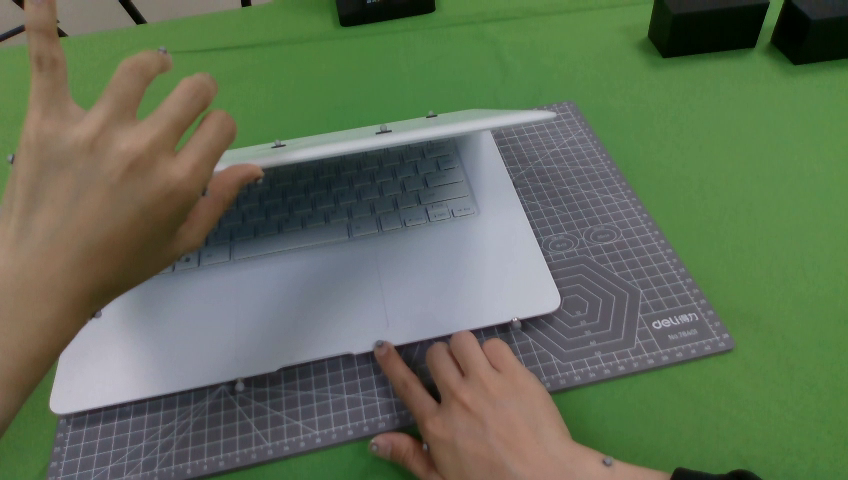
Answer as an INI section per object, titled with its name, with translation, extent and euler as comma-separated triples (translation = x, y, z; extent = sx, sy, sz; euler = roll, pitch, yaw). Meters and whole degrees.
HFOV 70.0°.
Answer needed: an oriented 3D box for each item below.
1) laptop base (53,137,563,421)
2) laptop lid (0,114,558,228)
[laptop base]
translation = -0.093, 0.006, 0.488
extent = 0.355, 0.023, 0.233
euler = -11, 50, -4
[laptop lid]
translation = -0.104, -0.060, 0.447
extent = 0.357, 0.013, 0.240
euler = -11, 13, -3
